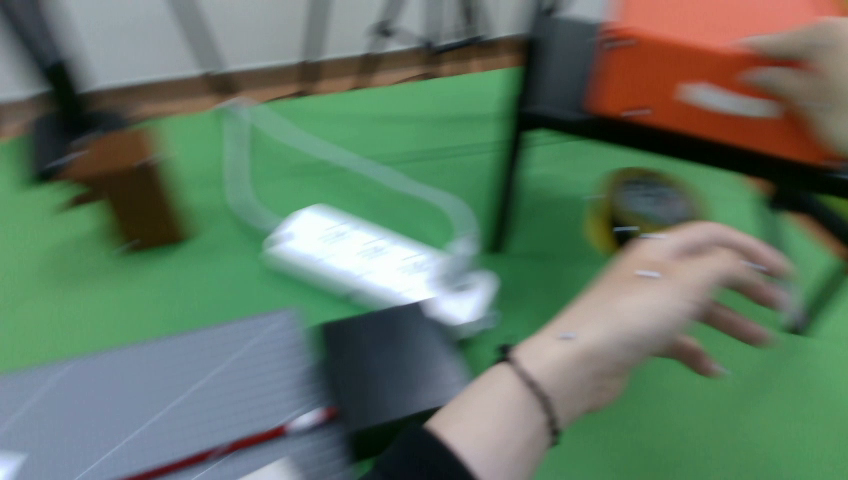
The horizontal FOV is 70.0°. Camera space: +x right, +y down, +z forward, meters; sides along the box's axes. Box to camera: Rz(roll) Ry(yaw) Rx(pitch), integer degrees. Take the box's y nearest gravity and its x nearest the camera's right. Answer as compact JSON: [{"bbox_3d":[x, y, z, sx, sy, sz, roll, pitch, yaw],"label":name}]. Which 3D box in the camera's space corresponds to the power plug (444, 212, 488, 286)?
[{"bbox_3d":[0.048,0.016,0.566,0.035,0.053,0.072,31,51,22],"label":"power plug"}]

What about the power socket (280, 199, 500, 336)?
[{"bbox_3d":[-0.033,0.023,0.582,0.225,0.033,0.072,23,47,16],"label":"power socket"}]

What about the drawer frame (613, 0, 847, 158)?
[{"bbox_3d":[0.283,-0.174,0.525,0.201,0.083,0.212,16,45,10],"label":"drawer frame"}]

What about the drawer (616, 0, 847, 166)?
[{"bbox_3d":[0.282,-0.170,0.522,0.194,0.074,0.210,17,45,11],"label":"drawer"}]

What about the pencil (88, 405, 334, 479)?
[{"bbox_3d":[-0.162,0.155,0.449,0.194,0.012,0.012,-13,48,-17],"label":"pencil"}]

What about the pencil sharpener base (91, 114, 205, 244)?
[{"bbox_3d":[-0.262,-0.056,0.580,0.077,0.108,0.060,-15,49,-19],"label":"pencil sharpener base"}]

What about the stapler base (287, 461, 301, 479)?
[{"bbox_3d":[-0.139,0.194,0.404,0.131,0.024,0.041,-26,55,-30],"label":"stapler base"}]

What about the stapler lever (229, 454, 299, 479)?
[{"bbox_3d":[-0.137,0.175,0.387,0.118,0.040,0.026,-26,55,-29],"label":"stapler lever"}]

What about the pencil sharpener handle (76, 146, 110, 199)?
[{"bbox_3d":[-0.310,-0.058,0.557,0.031,0.068,0.035,-15,71,-19],"label":"pencil sharpener handle"}]

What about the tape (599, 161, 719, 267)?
[{"bbox_3d":[0.252,-0.030,0.654,0.117,0.053,0.115,4,47,-4],"label":"tape"}]
